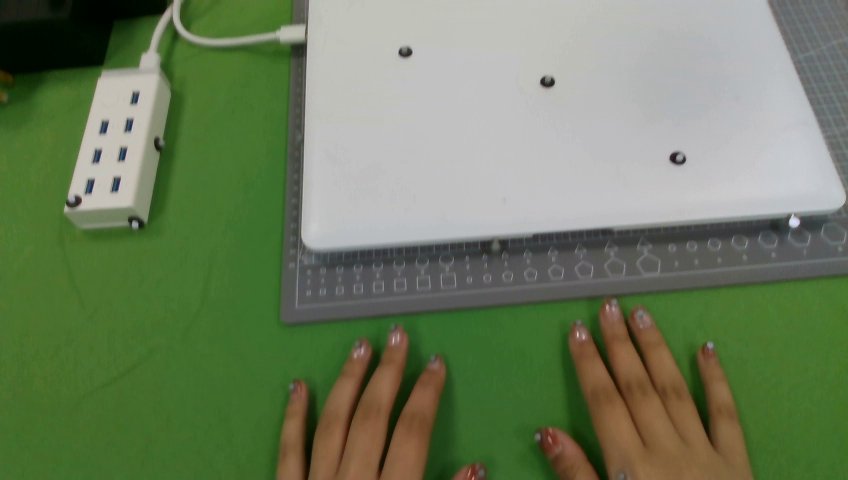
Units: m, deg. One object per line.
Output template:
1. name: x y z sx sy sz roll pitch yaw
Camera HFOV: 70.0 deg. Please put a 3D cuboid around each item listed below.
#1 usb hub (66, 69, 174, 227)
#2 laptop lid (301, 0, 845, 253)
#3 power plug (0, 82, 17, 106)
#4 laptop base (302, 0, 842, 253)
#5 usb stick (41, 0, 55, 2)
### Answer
1. usb hub: -0.218 -0.069 0.441 0.049 0.025 0.124 -4 62 2
2. laptop lid: 0.089 -0.109 0.436 0.357 0.013 0.239 -3 64 2
3. power plug: -0.355 -0.119 0.468 0.072 0.053 0.035 -8 64 36
4. laptop base: 0.090 -0.105 0.447 0.354 0.023 0.233 -4 65 1
5. usb stick: -0.284 -0.208 0.460 0.021 0.027 0.058 -5 64 -2
